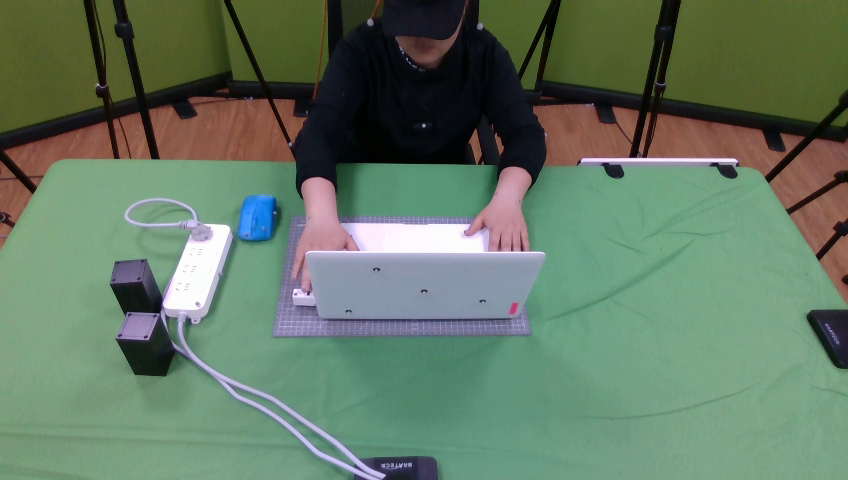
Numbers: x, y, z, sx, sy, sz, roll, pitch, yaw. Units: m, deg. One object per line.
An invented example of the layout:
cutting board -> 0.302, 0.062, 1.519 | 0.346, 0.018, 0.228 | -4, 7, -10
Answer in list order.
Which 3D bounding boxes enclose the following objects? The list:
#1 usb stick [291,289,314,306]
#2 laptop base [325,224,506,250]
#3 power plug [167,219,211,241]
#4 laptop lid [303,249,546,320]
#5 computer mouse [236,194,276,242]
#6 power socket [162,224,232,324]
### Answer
usb stick -> -0.203, 0.102, 1.068 | 0.059, 0.027, 0.021 | 3, 45, -6
laptop base -> -0.014, 0.055, 1.144 | 0.355, 0.023, 0.234 | 0, 43, -4
power plug -> -0.438, -0.017, 1.143 | 0.072, 0.053, 0.035 | 10, 43, 7
laptop lid -> -0.003, 0.077, 0.962 | 0.357, 0.242, 0.013 | 1, 58, -5
computer mouse -> -0.334, -0.047, 1.206 | 0.063, 0.041, 0.116 | 3, 51, -5
power socket -> -0.411, 0.052, 1.106 | 0.072, 0.033, 0.225 | 3, 45, -1
